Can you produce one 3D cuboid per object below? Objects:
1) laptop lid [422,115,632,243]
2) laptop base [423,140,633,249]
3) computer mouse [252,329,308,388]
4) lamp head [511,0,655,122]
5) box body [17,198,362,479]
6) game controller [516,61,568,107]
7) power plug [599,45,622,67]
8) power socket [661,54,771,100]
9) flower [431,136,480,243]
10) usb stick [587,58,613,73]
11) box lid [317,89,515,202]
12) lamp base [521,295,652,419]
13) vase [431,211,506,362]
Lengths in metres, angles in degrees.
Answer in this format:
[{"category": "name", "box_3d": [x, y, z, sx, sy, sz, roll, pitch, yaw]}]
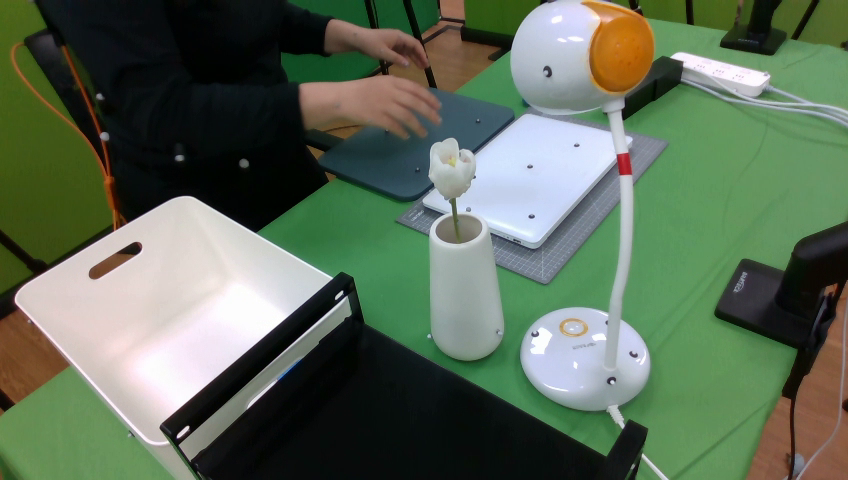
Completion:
[{"category": "laptop lid", "box_3d": [0.190, -0.126, 1.081, 0.239, 0.013, 0.358, 23, 48, 34]}, {"category": "laptop base", "box_3d": [0.194, -0.117, 1.087, 0.233, 0.023, 0.355, 20, 47, 34]}, {"category": "computer mouse", "box_3d": [-0.168, 0.161, 0.790, 0.116, 0.041, 0.063, 31, 50, 27]}, {"category": "lamp head", "box_3d": [0.155, -0.168, 0.563, 0.113, 0.113, 0.122, -18, 23, -12]}, {"category": "box body", "box_3d": [-0.285, 0.123, 0.766, 0.361, 0.161, 0.255, 25, 49, 33]}, {"category": "game controller", "box_3d": [0.259, -0.352, 1.336, 0.097, 0.052, 0.154, -3, 41, 2]}, {"category": "power plug", "box_3d": [0.437, -0.423, 1.412, 0.053, 0.035, 0.072, -19, 73, -46]}, {"category": "power socket", "box_3d": [0.615, -0.348, 1.285, 0.072, 0.033, 0.225, -36, 48, -28]}, {"category": "flower", "box_3d": [0.041, 0.011, 0.691, 0.044, 0.363, 0.038, 16, 62, 14]}, {"category": "usb stick", "box_3d": [0.401, -0.399, 1.381, 0.059, 0.027, 0.021, 0, 50, 21]}, {"category": "box lid", "box_3d": [-0.009, -0.207, 1.236, 0.261, 0.015, 0.372, 23, 49, 32]}, {"category": "lamp base", "box_3d": [0.201, 0.095, 0.710, 0.161, 0.181, 0.177, -16, 43, -10]}, {"category": "vase", "box_3d": [0.054, 0.062, 0.757, 0.098, 0.201, 0.097, -3, 40, 3]}]
